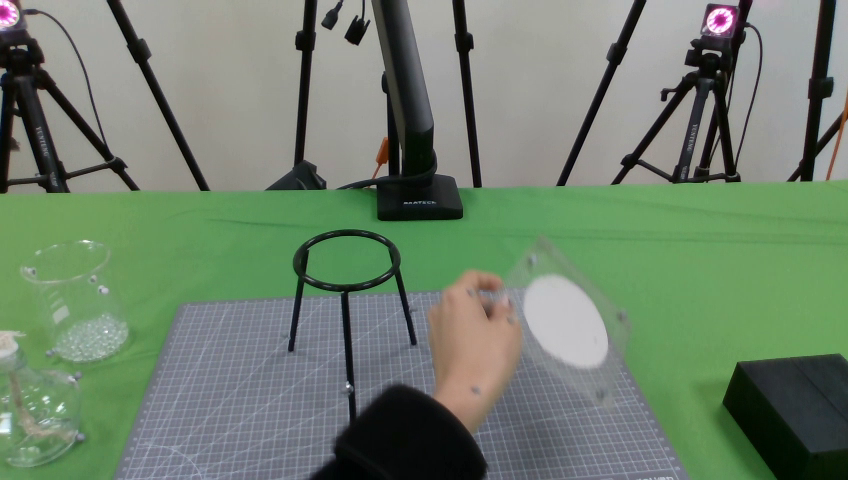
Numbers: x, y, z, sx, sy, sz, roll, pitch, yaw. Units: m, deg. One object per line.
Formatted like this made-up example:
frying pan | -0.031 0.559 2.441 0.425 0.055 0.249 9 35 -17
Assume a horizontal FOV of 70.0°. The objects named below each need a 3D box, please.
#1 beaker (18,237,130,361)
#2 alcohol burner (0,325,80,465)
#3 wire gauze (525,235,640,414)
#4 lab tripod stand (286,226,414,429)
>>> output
beaker | -0.328 0.056 0.579 0.074 0.101 0.083 5 31 4
alcohol burner | -0.314 0.115 0.470 0.078 0.120 0.077 2 30 -1
wire gauze | 0.126 0.062 0.482 0.126 0.011 0.120 33 38 -19
lab tripod stand | -0.066 0.068 0.537 0.148 0.132 0.147 3 33 -2
